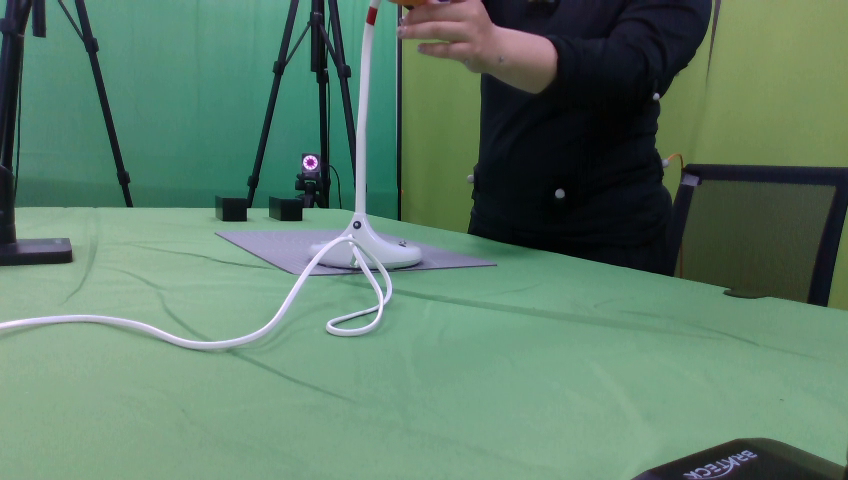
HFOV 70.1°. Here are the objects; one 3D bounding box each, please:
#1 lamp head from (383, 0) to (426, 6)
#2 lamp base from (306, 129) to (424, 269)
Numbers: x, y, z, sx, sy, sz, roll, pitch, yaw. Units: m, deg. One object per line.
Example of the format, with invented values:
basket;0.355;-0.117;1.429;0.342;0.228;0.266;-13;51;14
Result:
lamp head;-0.024;-0.325;0.671;0.112;0.123;0.112;4;3;0
lamp base;-0.077;-0.057;0.810;0.161;0.180;0.179;2;10;-4
